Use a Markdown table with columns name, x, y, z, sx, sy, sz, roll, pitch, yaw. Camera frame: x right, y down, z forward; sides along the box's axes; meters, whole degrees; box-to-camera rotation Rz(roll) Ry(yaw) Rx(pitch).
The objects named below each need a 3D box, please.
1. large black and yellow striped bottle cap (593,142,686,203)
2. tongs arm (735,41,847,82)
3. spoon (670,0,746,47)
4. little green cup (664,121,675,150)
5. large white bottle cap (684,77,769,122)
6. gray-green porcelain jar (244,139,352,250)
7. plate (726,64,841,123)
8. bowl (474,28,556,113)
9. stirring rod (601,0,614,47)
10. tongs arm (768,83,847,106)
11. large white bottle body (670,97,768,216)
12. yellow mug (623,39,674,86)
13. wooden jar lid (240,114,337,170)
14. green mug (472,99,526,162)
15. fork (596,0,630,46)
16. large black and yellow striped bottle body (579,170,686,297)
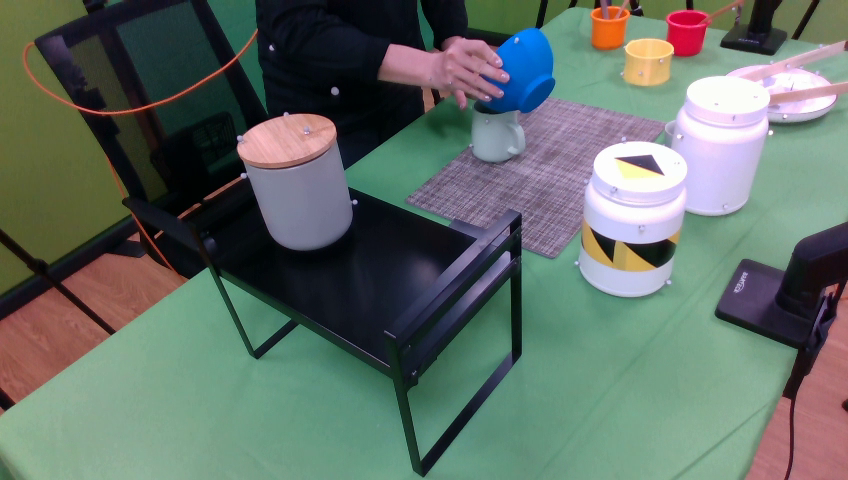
| name | x | y | z | sx | sy | sz | roll | pitch | yaw |
| --- | --- | --- | --- | --- | --- | --- | --- | --- | --- |
| large black and yellow striped bottle cap | 0.280 | -0.090 | 0.786 | 0.115 | 0.019 | 0.114 | -5 | 41 | 5 |
| tongs arm | 0.712 | -0.332 | 1.194 | 0.386 | 0.026 | 0.050 | -18 | 45 | -16 |
| spoon | 0.629 | -0.484 | 1.350 | 0.022 | 0.193 | 0.042 | 48 | 54 | -7 |
| little green cup | 0.472 | -0.188 | 1.113 | 0.061 | 0.039 | 0.061 | -5 | 40 | 5 |
| large white bottle cap | 0.448 | -0.210 | 0.898 | 0.115 | 0.018 | 0.114 | -4 | 40 | 4 |
| gray-green porcelain jar | -0.144 | -0.060 | 0.714 | 0.106 | 0.127 | 0.105 | -4 | 41 | 4 |
| plate | 0.695 | -0.282 | 1.189 | 0.207 | 0.039 | 0.206 | -4 | 40 | 4 |
| bowl | 0.167 | -0.266 | 1.010 | 0.152 | 0.151 | 0.076 | -31 | 70 | -25 |
| stirring rod | 0.439 | -0.552 | 1.463 | 0.014 | 0.006 | 0.175 | -7 | 83 | 3 |
| tongs arm | 0.738 | -0.282 | 1.134 | 0.388 | 0.028 | 0.028 | -9 | 47 | -5 |
| large white bottle body | 0.458 | -0.146 | 0.952 | 0.130 | 0.185 | 0.130 | -4 | 40 | 4 |
| yellow mug | 0.484 | -0.398 | 1.334 | 0.100 | 0.064 | 0.130 | -18 | 41 | -11 |
| wooden jar lid | -0.149 | -0.106 | 0.673 | 0.108 | 0.021 | 0.108 | -6 | 38 | 5 |
| green mug | 0.144 | -0.202 | 1.122 | 0.093 | 0.105 | 0.124 | -29 | 45 | -23 |
| fork | 0.481 | -0.556 | 1.453 | 0.028 | 0.019 | 0.207 | 40 | 103 | 38 |
| large black and yellow striped bottle body | 0.287 | -0.027 | 0.841 | 0.131 | 0.185 | 0.130 | -4 | 40 | 4 |
